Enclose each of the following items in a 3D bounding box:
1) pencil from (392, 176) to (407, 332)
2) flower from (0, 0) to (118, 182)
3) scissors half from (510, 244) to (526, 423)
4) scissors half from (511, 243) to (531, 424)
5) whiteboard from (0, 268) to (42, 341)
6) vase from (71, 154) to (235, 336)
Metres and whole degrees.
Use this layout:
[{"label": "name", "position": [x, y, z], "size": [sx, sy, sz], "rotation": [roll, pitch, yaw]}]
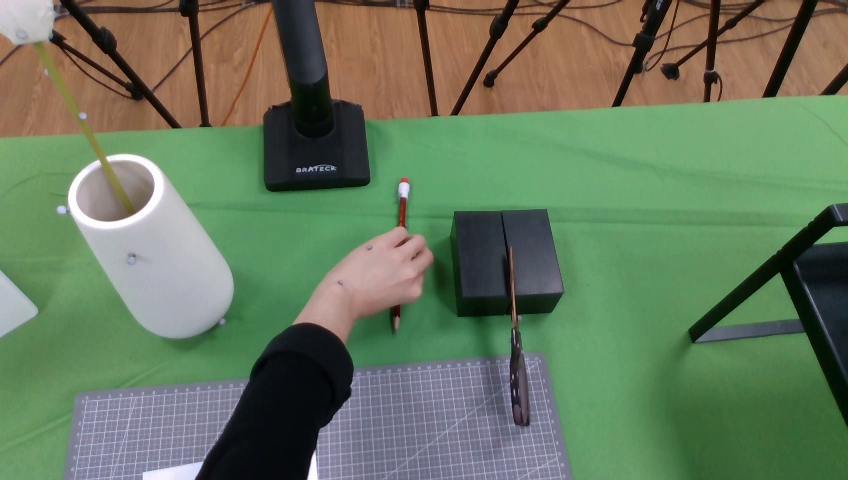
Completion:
[{"label": "pencil", "position": [-0.028, 0.010, 0.664], "size": [0.012, 0.012, 0.192], "rotation": [3, 61, -2]}, {"label": "flower", "position": [-0.238, -0.043, 0.471], "size": [0.044, 0.365, 0.038], "rotation": [-10, 44, -7]}, {"label": "scissors half", "position": [0.086, 0.082, 0.572], "size": [0.013, 0.040, 0.173], "rotation": [-5, 63, 13]}, {"label": "scissors half", "position": [0.092, 0.088, 0.590], "size": [0.013, 0.040, 0.174], "rotation": [-6, 80, 18]}, {"label": "whiteboard", "position": [-0.527, -0.007, 0.497], "size": [0.217, 0.308, 0.142], "rotation": [-36, 50, -21]}, {"label": "vase", "position": [-0.234, 0.010, 0.538], "size": [0.098, 0.201, 0.097], "rotation": [1, 59, -2]}]
